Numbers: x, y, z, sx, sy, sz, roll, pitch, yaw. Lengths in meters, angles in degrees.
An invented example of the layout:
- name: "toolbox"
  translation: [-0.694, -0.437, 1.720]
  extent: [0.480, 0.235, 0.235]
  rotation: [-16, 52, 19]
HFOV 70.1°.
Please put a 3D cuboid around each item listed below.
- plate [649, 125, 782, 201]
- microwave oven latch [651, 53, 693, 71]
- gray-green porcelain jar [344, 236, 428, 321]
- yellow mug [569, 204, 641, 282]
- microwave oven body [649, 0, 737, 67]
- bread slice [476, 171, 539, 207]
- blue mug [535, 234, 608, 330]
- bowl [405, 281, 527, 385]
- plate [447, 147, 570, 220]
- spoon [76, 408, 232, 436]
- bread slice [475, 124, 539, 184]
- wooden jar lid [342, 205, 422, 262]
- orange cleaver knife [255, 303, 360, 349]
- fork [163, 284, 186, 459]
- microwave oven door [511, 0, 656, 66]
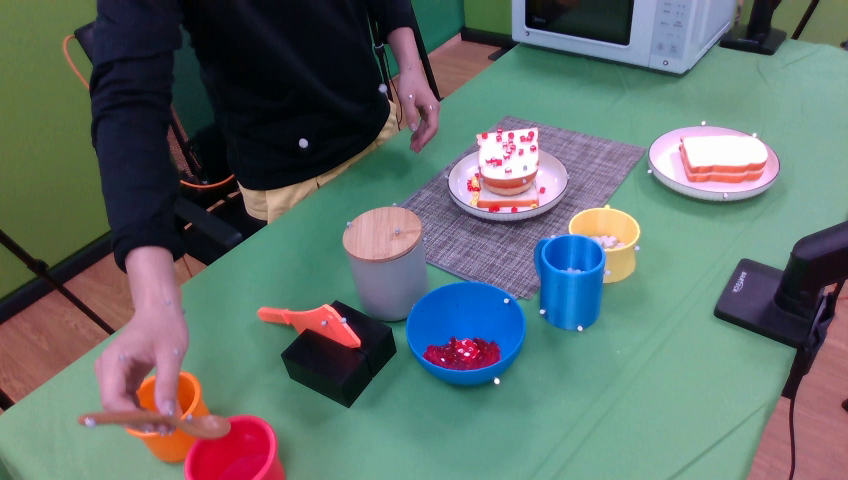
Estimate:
- name: "plate"
  translation: [0.493, -0.128, 1.036]
  extent: [0.207, 0.039, 0.206]
  rotation: [-4, 41, 4]
- name: "microwave oven latch"
  translation: [0.532, -0.386, 1.301]
  extent: [0.078, 0.029, 0.030]
  rotation: [27, 52, 34]
- name: "gray-green porcelain jar"
  translation: [-0.049, 0.042, 0.849]
  extent: [0.106, 0.127, 0.105]
  rotation: [-4, 41, 4]
- name: "yellow mug"
  translation: [0.268, -0.005, 0.904]
  extent: [0.099, 0.064, 0.130]
  rotation: [7, 41, 15]
- name: "microwave oven body"
  translation: [0.475, -0.602, 1.411]
  extent: [0.438, 0.261, 0.327]
  rotation: [23, 50, 32]
- name: "bread slice"
  translation: [0.144, -0.103, 1.059]
  extent: [0.105, 0.019, 0.131]
  rotation: [-1, 44, 5]
- name: "blue mug"
  translation: [0.191, 0.048, 0.824]
  extent: [0.082, 0.106, 0.115]
  rotation: [-26, 44, -21]
- name: "bowl"
  translation: [0.055, 0.131, 0.767]
  extent: [0.151, 0.077, 0.150]
  rotation: [-4, 40, 4]
- name: "plate"
  translation: [0.145, -0.098, 1.046]
  extent: [0.209, 0.038, 0.208]
  rotation: [-4, 40, 4]
- name: "spoon"
  translation: [-0.242, 0.165, 0.559]
  extent: [0.041, 0.195, 0.021]
  rotation: [22, 77, 23]
- name: "bread slice"
  translation: [0.142, -0.144, 1.009]
  extent: [0.107, 0.018, 0.133]
  rotation: [-8, 46, 8]
- name: "wooden jar lid"
  translation: [-0.055, -0.005, 0.808]
  extent: [0.108, 0.021, 0.108]
  rotation: [-6, 41, 6]
- name: "orange cleaver knife"
  translation: [-0.160, 0.115, 0.813]
  extent: [0.209, 0.077, 0.012]
  rotation: [-4, 32, 47]
- name: "fork"
  translation: [-0.303, 0.157, 0.733]
  extent: [0.028, 0.019, 0.207]
  rotation: [-3, 84, 14]
- name: "microwave oven door"
  translation: [0.351, -0.539, 1.348]
  extent: [0.353, 0.245, 0.039]
  rotation: [24, 50, 31]
